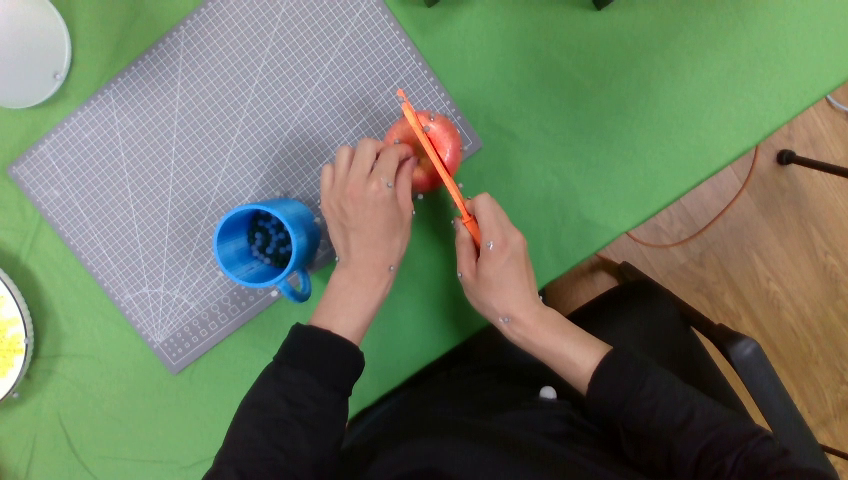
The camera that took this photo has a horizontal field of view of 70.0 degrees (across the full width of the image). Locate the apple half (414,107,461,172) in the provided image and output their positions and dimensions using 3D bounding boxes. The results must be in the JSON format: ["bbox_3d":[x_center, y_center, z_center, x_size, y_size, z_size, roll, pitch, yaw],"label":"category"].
[{"bbox_3d":[0.018,-0.110,0.628,0.033,0.081,0.081,-33,96,5],"label":"apple half"}]

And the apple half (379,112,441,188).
[{"bbox_3d":[-0.019,-0.089,0.633,0.053,0.074,0.081,-28,101,11],"label":"apple half"}]

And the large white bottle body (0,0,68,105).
[{"bbox_3d":[-0.452,-0.201,0.573,0.130,0.184,0.131,0,98,2],"label":"large white bottle body"}]

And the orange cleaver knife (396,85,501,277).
[{"bbox_3d":[0.025,-0.058,0.609,0.012,0.076,0.213,-27,111,11],"label":"orange cleaver knife"}]

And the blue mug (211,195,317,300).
[{"bbox_3d":[-0.156,0.010,0.637,0.082,0.105,0.117,-28,97,5],"label":"blue mug"}]

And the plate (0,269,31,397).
[{"bbox_3d":[-0.552,0.098,0.697,0.209,0.038,0.209,0,99,2],"label":"plate"}]
